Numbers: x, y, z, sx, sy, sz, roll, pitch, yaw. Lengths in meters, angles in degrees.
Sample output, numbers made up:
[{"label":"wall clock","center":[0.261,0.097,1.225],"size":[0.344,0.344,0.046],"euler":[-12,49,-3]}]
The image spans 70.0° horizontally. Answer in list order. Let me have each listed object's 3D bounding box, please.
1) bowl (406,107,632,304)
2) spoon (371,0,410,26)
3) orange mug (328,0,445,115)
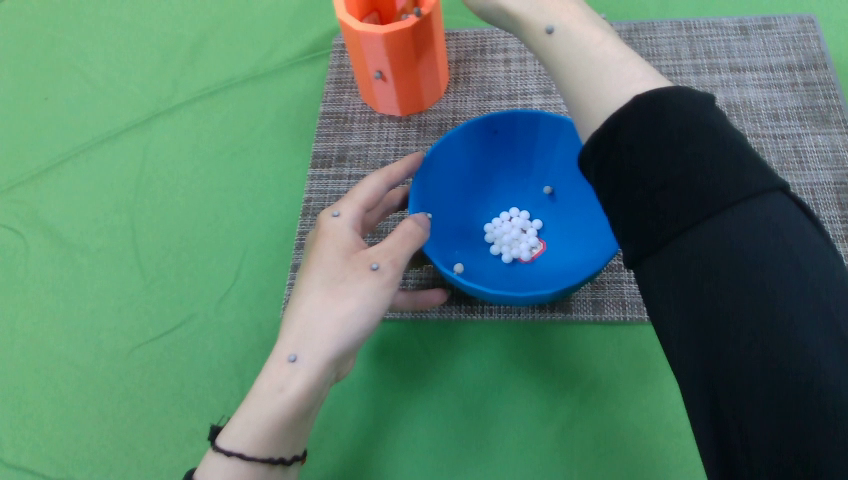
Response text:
[{"label":"bowl","center":[0.066,-0.013,0.437],"size":[0.151,0.077,0.150],"euler":[-3,61,6]},{"label":"spoon","center":[-0.008,-0.199,0.461],"size":[0.021,0.194,0.041],"euler":[-35,87,-23]},{"label":"orange mug","center":[-0.025,-0.190,0.533],"size":[0.083,0.101,0.125],"euler":[10,68,13]}]
